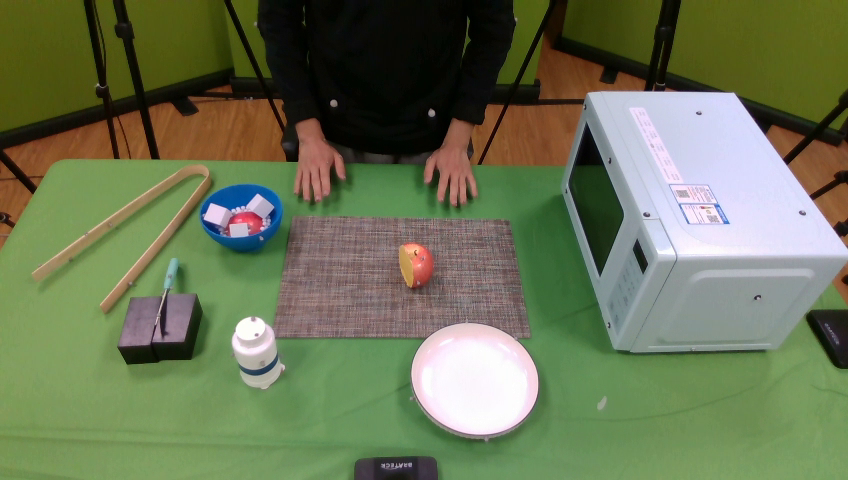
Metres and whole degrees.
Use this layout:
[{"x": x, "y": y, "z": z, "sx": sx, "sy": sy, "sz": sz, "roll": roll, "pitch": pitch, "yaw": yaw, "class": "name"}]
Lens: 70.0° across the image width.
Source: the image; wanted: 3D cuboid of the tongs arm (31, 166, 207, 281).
[{"x": -0.578, "y": -0.040, "z": 1.184, "sx": 0.050, "sy": 0.026, "sz": 0.384, "roll": 23, "pitch": 48, "yaw": 17, "class": "tongs arm"}]

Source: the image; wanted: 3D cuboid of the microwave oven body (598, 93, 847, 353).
[{"x": 0.476, "y": -0.041, "z": 1.110, "sx": 0.326, "sy": 0.261, "sz": 0.438, "roll": -1, "pitch": 45, "yaw": -4, "class": "microwave oven body"}]

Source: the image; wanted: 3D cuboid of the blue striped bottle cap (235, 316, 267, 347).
[{"x": -0.259, "y": 0.137, "z": 0.907, "sx": 0.044, "sy": 0.021, "sz": 0.044, "roll": 2, "pitch": 43, "yaw": -2, "class": "blue striped bottle cap"}]

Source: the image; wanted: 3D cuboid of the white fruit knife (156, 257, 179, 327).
[{"x": -0.440, "y": 0.085, "z": 1.037, "sx": 0.016, "sy": 0.027, "sz": 0.206, "roll": 10, "pitch": 26, "yaw": -19, "class": "white fruit knife"}]

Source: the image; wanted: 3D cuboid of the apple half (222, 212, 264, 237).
[{"x": -0.346, "y": -0.033, "z": 1.161, "sx": 0.081, "sy": 0.033, "sz": 0.081, "roll": 4, "pitch": 47, "yaw": -4, "class": "apple half"}]

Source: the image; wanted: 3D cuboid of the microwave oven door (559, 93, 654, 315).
[{"x": 0.327, "y": -0.074, "z": 1.123, "sx": 0.039, "sy": 0.245, "sz": 0.353, "roll": -1, "pitch": 46, "yaw": -5, "class": "microwave oven door"}]

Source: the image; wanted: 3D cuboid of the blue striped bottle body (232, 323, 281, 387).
[{"x": -0.262, "y": 0.172, "z": 0.944, "sx": 0.063, "sy": 0.121, "sz": 0.062, "roll": 2, "pitch": 46, "yaw": -2, "class": "blue striped bottle body"}]

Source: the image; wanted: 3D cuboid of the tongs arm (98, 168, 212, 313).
[{"x": -0.503, "y": -0.012, "z": 1.167, "sx": 0.028, "sy": 0.028, "sz": 0.385, "roll": 11, "pitch": 46, "yaw": 11, "class": "tongs arm"}]

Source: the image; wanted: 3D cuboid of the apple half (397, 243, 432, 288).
[{"x": -0.013, "y": 0.047, "z": 1.115, "sx": 0.053, "sy": 0.075, "sz": 0.080, "roll": -10, "pitch": 43, "yaw": -21, "class": "apple half"}]

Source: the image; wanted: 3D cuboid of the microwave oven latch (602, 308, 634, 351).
[{"x": 0.332, "y": 0.153, "z": 1.044, "sx": 0.030, "sy": 0.029, "sz": 0.078, "roll": -1, "pitch": 45, "yaw": -4, "class": "microwave oven latch"}]

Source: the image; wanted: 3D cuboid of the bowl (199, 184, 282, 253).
[{"x": -0.346, "y": -0.030, "z": 1.164, "sx": 0.151, "sy": 0.077, "sz": 0.150, "roll": 3, "pitch": 46, "yaw": -3, "class": "bowl"}]

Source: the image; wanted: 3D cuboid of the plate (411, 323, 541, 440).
[{"x": 0.082, "y": 0.228, "z": 0.976, "sx": 0.208, "sy": 0.039, "sz": 0.206, "roll": 2, "pitch": 45, "yaw": -2, "class": "plate"}]
